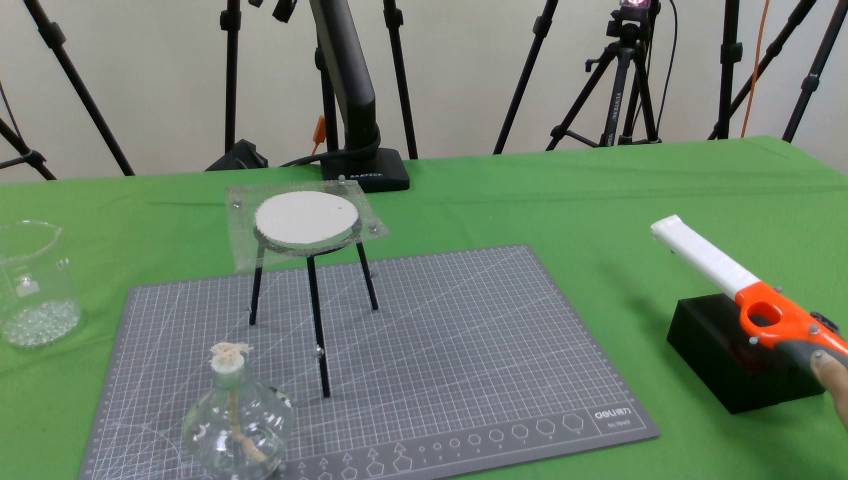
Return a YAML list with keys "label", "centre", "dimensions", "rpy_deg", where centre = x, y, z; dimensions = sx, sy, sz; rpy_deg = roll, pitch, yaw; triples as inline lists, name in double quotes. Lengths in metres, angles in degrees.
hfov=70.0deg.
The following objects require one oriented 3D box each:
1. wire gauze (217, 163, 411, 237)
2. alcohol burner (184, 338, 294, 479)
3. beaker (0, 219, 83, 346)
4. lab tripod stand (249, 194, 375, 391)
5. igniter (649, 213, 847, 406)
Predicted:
- label: "wire gauze"
  centre: [-0.092, -0.034, 0.503]
  dimensions: [0.125, 0.011, 0.120]
  rpy_deg: [-15, 32, -37]
- label: "alcohol burner"
  centre: [-0.134, 0.118, 0.437]
  dimensions: [0.078, 0.120, 0.077]
  rpy_deg: [3, 32, -1]
- label: "beaker"
  centre: [-0.365, 0.040, 0.563]
  dimensions: [0.073, 0.101, 0.084]
  rpy_deg: [23, 38, 28]
- label: "lab tripod stand"
  centre: [-0.099, 0.039, 0.544]
  dimensions: [0.148, 0.132, 0.147]
  rpy_deg: [3, 33, -2]
- label: "igniter"
  centre: [0.290, 0.051, 0.534]
  dimensions: [0.057, 0.025, 0.273]
  rpy_deg: [-22, 35, -5]
